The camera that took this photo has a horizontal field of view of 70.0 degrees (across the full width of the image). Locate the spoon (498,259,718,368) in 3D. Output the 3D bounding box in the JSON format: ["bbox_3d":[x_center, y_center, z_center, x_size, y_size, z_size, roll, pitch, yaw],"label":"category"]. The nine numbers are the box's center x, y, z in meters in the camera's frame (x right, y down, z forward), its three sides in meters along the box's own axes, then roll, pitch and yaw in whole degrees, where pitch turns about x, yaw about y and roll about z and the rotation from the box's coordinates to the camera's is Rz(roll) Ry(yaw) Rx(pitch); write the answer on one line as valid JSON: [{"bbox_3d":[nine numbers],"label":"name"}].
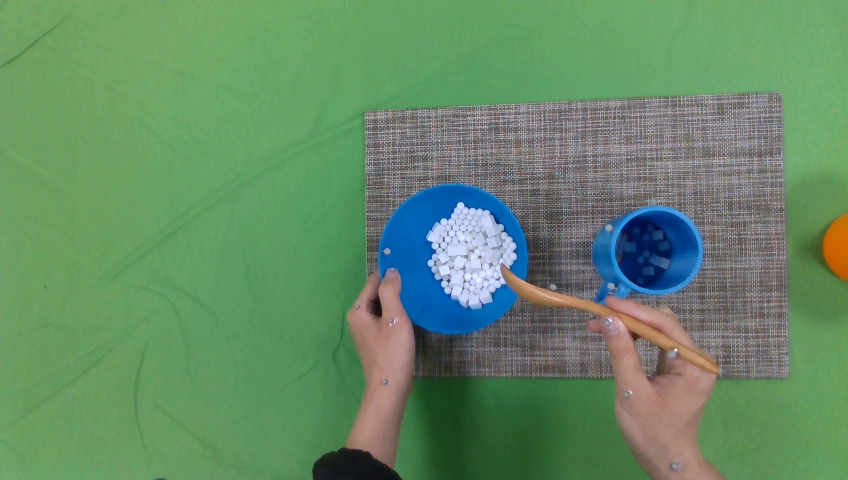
[{"bbox_3d":[0.132,0.053,0.470,0.192,0.042,0.021,20,74,41],"label":"spoon"}]

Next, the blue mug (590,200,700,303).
[{"bbox_3d":[0.206,0.020,0.604,0.082,0.106,0.116,37,93,6],"label":"blue mug"}]

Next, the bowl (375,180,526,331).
[{"bbox_3d":[0.028,0.017,0.634,0.151,0.077,0.151,0,87,2],"label":"bowl"}]
